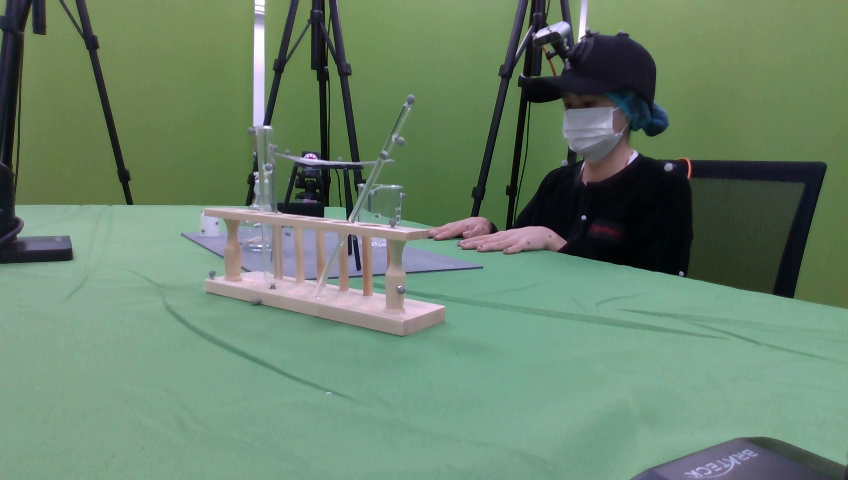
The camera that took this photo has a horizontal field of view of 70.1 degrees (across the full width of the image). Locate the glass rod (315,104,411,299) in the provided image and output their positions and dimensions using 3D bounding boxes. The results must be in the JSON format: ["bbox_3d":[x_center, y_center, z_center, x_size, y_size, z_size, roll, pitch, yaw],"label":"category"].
[{"bbox_3d":[-0.055,-0.026,0.516,0.008,0.199,0.008,23,24,-11],"label":"glass rod"}]

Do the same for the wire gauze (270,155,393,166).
[{"bbox_3d":[-0.121,-0.102,0.785,0.122,0.011,0.124,-3,10,-39],"label":"wire gauze"}]

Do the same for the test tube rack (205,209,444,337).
[{"bbox_3d":[-0.100,0.021,0.565,0.241,0.085,0.067,7,9,32],"label":"test tube rack"}]

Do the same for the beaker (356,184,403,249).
[{"bbox_3d":[-0.074,-0.039,0.975,0.074,0.100,0.084,4,8,12],"label":"beaker"}]

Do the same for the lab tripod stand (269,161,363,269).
[{"bbox_3d":[-0.125,-0.036,0.794,0.148,0.131,0.148,5,7,0],"label":"lab tripod stand"}]

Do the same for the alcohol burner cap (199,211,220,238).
[{"bbox_3d":[-0.355,-0.027,1.002,0.034,0.048,0.034,2,7,0],"label":"alcohol burner cap"}]

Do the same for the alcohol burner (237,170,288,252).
[{"bbox_3d":[-0.236,-0.042,0.882,0.078,0.119,0.078,2,9,0],"label":"alcohol burner"}]

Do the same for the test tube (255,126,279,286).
[{"bbox_3d":[-0.147,-0.031,0.566,0.017,0.150,0.017,-1,8,0],"label":"test tube"}]
